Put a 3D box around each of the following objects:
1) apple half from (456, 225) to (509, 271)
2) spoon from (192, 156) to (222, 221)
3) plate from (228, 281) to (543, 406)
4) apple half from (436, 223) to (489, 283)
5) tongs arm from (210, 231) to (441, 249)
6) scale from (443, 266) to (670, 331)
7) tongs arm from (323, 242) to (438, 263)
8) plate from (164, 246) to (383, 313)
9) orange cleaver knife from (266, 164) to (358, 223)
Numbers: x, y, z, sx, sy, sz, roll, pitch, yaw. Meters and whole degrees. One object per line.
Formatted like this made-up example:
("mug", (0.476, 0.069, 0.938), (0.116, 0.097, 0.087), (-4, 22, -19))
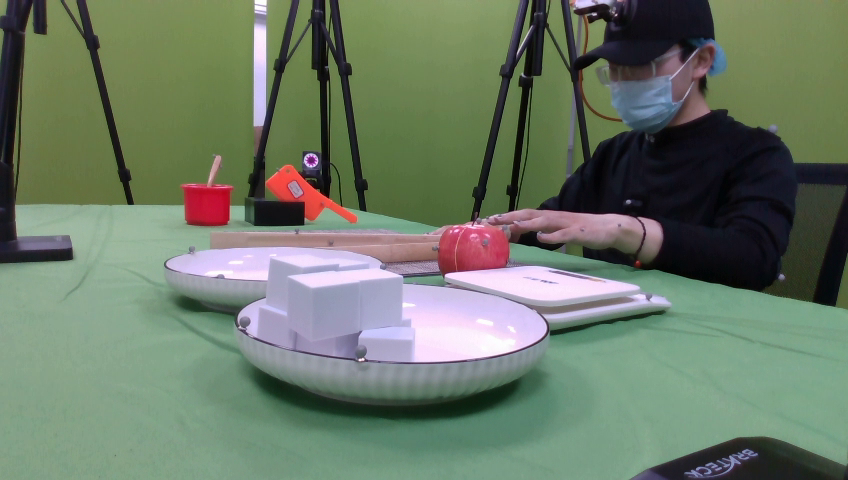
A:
("apple half", (0.071, 0.021, 0.662), (0.082, 0.081, 0.032), (-4, 7, -42))
("spoon", (-0.430, -0.108, 1.222), (0.041, 0.021, 0.193), (-1, 52, 0))
("plate", (-0.025, 0.067, 0.413), (0.208, 0.039, 0.207), (3, 7, 0))
("apple half", (0.045, 0.017, 0.691), (0.081, 0.074, 0.053), (-9, 10, -41))
("tongs arm", (-0.106, 0.004, 0.876), (0.386, 0.026, 0.050), (0, 7, -20))
("scale", (0.131, 0.052, 0.602), (0.202, 0.031, 0.148), (-2, 9, -37))
("tongs arm", (-0.070, 0.017, 0.800), (0.390, 0.028, 0.028), (-2, 5, -34))
("plate", (-0.145, 0.038, 0.600), (0.209, 0.038, 0.209), (2, 7, 0))
("orange cleaver knife", (-0.237, -0.082, 1.295), (0.212, 0.077, 0.012), (35, -8, -26))
